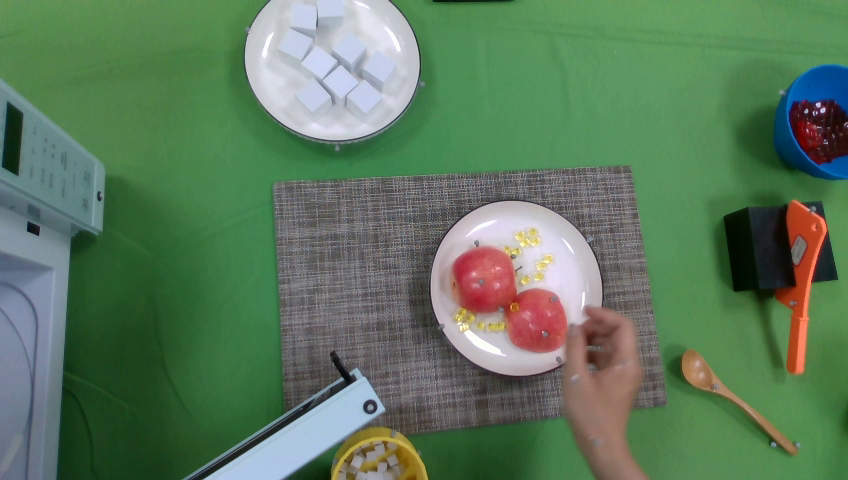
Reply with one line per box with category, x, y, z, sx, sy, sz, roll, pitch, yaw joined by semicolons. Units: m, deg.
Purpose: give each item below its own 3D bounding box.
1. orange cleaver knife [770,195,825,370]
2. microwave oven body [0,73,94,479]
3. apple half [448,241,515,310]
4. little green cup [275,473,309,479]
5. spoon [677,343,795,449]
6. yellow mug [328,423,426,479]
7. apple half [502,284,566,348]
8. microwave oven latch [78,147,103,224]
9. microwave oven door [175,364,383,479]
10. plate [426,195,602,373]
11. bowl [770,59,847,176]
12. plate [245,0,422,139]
orange cleaver knife;0.451;0.053;0.742;0.012;0.077;0.212;-3;104;-4
microwave oven body;-0.493;0.100;0.507;0.327;0.260;0.440;-1;81;-9
apple half;0.068;0.039;0.694;0.075;0.053;0.080;-6;81;-7
little green cup;-0.142;0.278;0.643;0.062;0.039;0.061;2;79;-8
spoon;0.381;0.194;0.739;0.194;0.022;0.041;39;60;0
yellow mug;-0.053;0.266;0.643;0.100;0.064;0.130;7;82;-7
apple half;0.131;0.089;0.704;0.081;0.033;0.081;2;76;-7
microwave oven latch;-0.364;-0.058;0.651;0.030;0.029;0.079;0;81;-9
microwave oven door;-0.199;0.220;0.524;0.356;0.244;0.039;-32;85;-12
plate;0.103;0.051;0.713;0.209;0.038;0.208;1;81;-8
bowl;0.510;-0.148;0.787;0.152;0.077;0.151;1;80;-7
plate;-0.108;-0.218;0.734;0.208;0.039;0.207;1;80;-8
